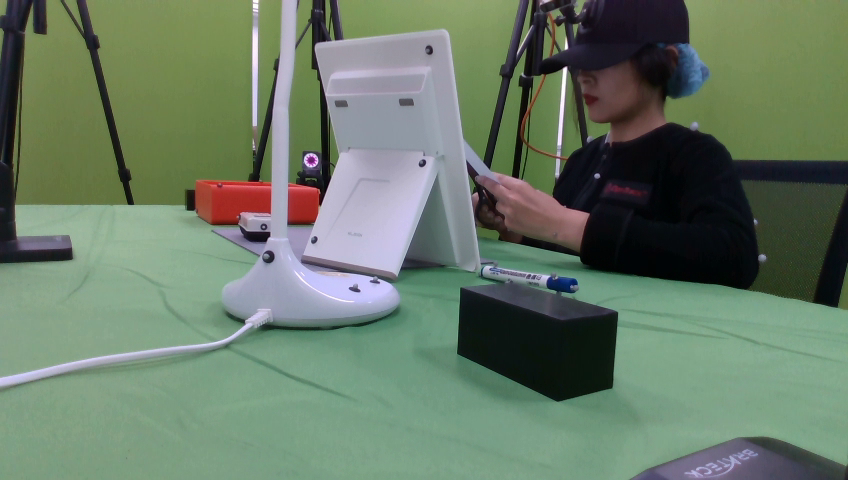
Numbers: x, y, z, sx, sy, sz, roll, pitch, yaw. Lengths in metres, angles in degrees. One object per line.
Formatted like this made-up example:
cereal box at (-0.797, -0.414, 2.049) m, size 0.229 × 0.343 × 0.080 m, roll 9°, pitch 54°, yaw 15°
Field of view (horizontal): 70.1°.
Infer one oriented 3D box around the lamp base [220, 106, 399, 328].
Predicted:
lamp base at (-0.101, -0.023, 0.531) m, size 0.160 × 0.180 × 0.179 m, roll 4°, pitch 10°, yaw 10°

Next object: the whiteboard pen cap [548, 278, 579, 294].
whiteboard pen cap at (0.148, 0.049, 0.647) m, size 0.018 × 0.018 × 0.033 m, roll -3°, pitch 3°, yaw -36°

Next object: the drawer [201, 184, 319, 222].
drawer at (-0.353, -0.082, 1.296) m, size 0.213 × 0.073 × 0.193 m, roll -2°, pitch 10°, yaw -28°

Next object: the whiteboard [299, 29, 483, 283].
whiteboard at (-0.074, -0.082, 0.742) m, size 0.216 × 0.305 × 0.144 m, roll 9°, pitch 29°, yaw 38°

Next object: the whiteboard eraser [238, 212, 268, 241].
whiteboard eraser at (-0.272, -0.023, 0.998) m, size 0.056 × 0.042 × 0.112 m, roll -2°, pitch 9°, yaw -24°

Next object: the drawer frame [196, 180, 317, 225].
drawer frame at (-0.359, -0.083, 1.292) m, size 0.215 × 0.082 × 0.200 m, roll -2°, pitch 10°, yaw -30°

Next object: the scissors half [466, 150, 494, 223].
scissors half at (0.099, -0.095, 1.115) m, size 0.040 × 0.175 × 0.013 m, roll -32°, pitch 43°, yaw -15°

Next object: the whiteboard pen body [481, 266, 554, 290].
whiteboard pen body at (0.115, 0.044, 0.695) m, size 0.017 × 0.017 × 0.140 m, roll -3°, pitch 6°, yaw -35°

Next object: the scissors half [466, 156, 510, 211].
scissors half at (0.116, -0.108, 1.116) m, size 0.176 × 0.040 × 0.012 m, roll 40°, pitch 7°, yaw -44°
